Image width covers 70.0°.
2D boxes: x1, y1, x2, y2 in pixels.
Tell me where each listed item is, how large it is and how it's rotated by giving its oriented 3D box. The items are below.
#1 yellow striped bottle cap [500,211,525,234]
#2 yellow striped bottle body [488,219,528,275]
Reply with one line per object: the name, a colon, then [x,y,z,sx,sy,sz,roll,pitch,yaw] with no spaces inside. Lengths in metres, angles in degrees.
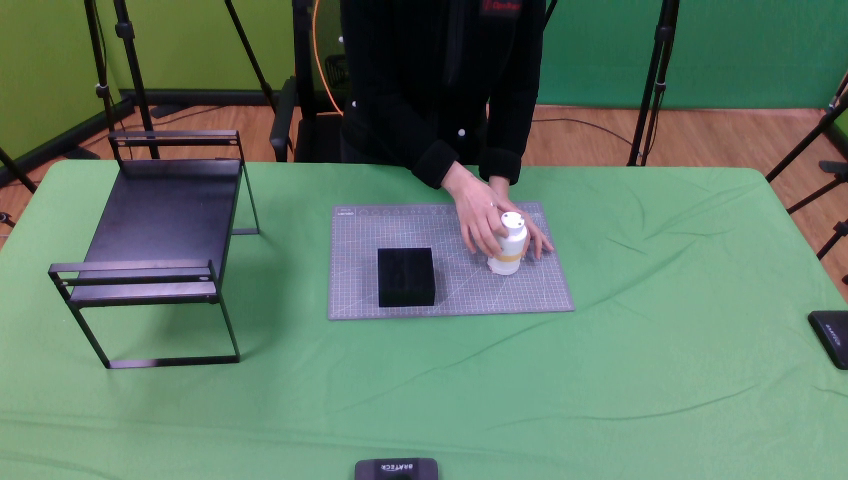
yellow striped bottle cap: [0.160,-0.032,1.093,0.044,0.019,0.044,3,45,-3]
yellow striped bottle body: [0.158,0.003,1.131,0.063,0.121,0.062,2,46,-2]
